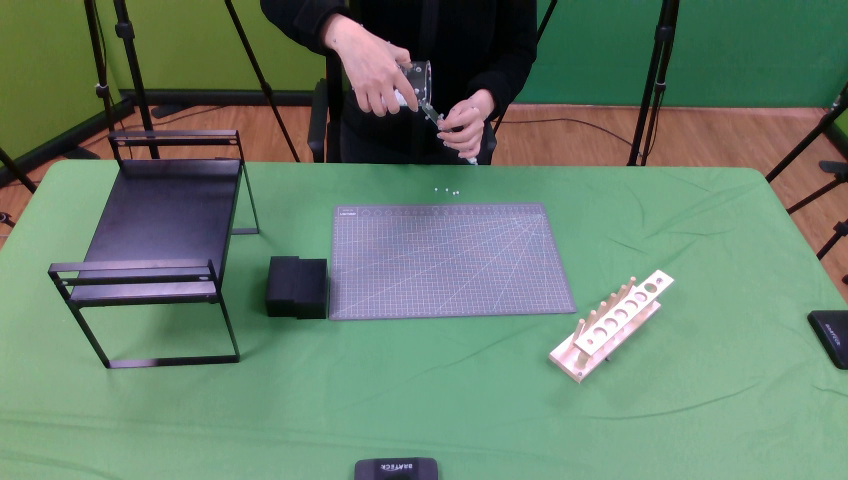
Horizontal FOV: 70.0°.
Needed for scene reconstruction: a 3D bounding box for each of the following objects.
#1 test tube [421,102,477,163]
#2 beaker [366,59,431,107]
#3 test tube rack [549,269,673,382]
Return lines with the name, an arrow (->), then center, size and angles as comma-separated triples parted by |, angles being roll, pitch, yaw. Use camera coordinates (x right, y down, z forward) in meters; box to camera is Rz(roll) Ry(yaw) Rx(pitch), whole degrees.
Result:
test tube -> 0.046, -0.184, 1.053 | 0.017, 0.151, 0.017 | -29, 38, 25
beaker -> -0.043, -0.251, 0.979 | 0.100, 0.084, 0.073 | -1, 50, -6
test tube rack -> 0.325, 0.134, 1.047 | 0.242, 0.085, 0.066 | -32, 56, -30
